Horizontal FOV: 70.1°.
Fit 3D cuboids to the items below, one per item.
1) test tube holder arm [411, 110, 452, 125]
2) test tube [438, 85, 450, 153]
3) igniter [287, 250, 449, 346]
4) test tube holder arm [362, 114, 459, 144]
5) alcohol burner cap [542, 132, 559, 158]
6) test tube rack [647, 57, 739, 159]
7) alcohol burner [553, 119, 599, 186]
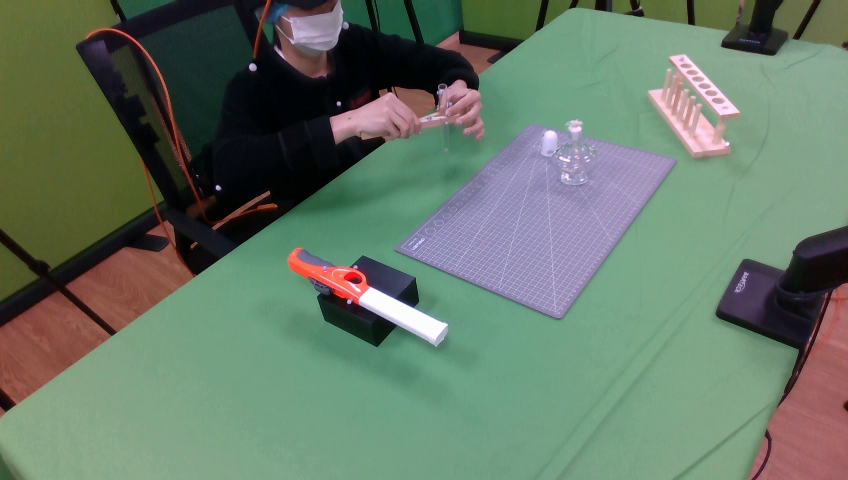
[{"bbox_3d":[0.014,-0.208,1.055,0.088,0.015,0.010,-27,39,-32],"label":"test tube holder arm"},{"bbox_3d":[0.035,-0.210,1.068,0.017,0.151,0.017,-2,53,3],"label":"test tube"},{"bbox_3d":[-0.087,0.073,0.825,0.274,0.025,0.057,23,48,28],"label":"igniter"},{"bbox_3d":[-0.021,-0.191,1.032,0.179,0.015,0.013,-17,34,-20],"label":"test tube holder arm"},{"bbox_3d":[0.238,-0.180,1.134,0.034,0.048,0.033,-5,41,5],"label":"alcohol burner cap"},{"bbox_3d":[0.504,-0.257,1.153,0.067,0.085,0.241,-8,40,1],"label":"test tube rack"},{"bbox_3d":[0.261,-0.153,1.042,0.078,0.119,0.077,-6,40,6],"label":"alcohol burner"}]
